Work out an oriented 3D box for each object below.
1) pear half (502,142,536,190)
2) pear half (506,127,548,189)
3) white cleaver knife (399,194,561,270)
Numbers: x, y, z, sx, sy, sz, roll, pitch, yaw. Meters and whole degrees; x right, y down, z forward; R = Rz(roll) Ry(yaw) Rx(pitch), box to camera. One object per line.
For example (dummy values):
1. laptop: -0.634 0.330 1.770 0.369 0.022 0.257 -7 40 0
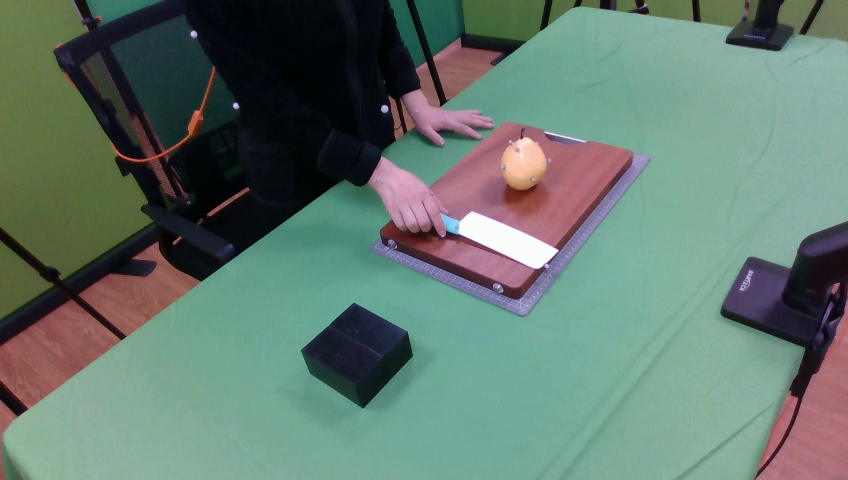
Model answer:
1. pear half: 0.152 -0.119 1.000 0.070 0.088 0.031 27 53 29
2. pear half: 0.174 -0.145 1.011 0.076 0.110 0.056 27 52 30
3. white cleaver knife: 0.079 -0.019 0.957 0.284 0.021 0.066 25 47 28
